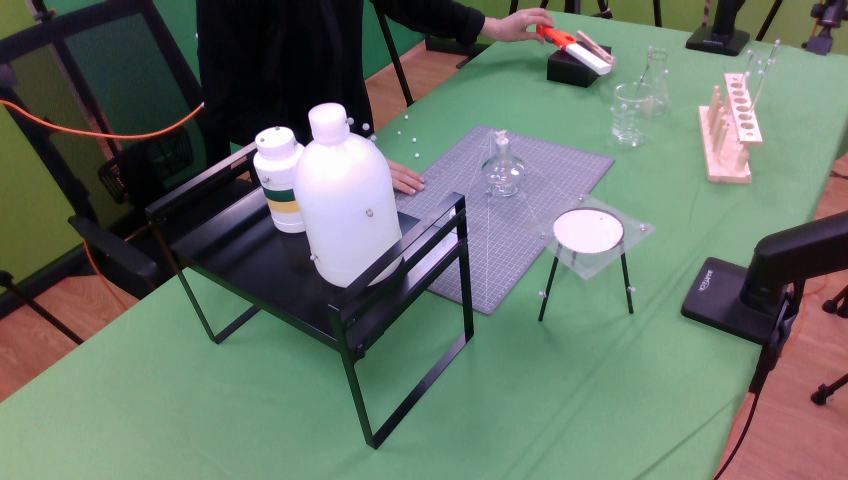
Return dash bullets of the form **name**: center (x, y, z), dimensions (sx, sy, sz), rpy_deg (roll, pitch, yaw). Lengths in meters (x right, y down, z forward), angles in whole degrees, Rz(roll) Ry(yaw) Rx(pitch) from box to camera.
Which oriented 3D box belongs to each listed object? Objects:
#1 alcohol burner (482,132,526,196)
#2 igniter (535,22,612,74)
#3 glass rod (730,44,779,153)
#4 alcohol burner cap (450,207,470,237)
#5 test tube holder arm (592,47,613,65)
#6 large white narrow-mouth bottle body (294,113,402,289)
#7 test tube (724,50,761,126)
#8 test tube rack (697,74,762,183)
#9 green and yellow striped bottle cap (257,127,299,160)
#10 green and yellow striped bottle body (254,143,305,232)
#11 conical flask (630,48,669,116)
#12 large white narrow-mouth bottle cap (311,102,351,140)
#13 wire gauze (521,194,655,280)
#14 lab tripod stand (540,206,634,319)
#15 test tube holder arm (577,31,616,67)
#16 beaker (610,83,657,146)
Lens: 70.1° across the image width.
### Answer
- **alcohol burner**: center (0.137, -0.136, 1.042), dimensions (0.078, 0.119, 0.077), rpy_deg (-4, 43, 4)
- **igniter**: center (0.329, -0.439, 1.365), dimensions (0.057, 0.025, 0.274), rpy_deg (-16, 43, -17)
- **glass rod**: center (0.555, -0.233, 1.020), dimensions (0.008, 0.200, 0.008), rpy_deg (2, 39, -1)
- **alcohol burner cap**: center (0.057, -0.032, 0.987), dimensions (0.034, 0.048, 0.033), rpy_deg (-5, 41, 5)
- **test tube holder arm**: center (0.387, -0.399, 1.317), dimensions (0.010, 0.015, 0.087), rpy_deg (-11, 41, -6)
- **large white narrow-mouth bottle body**: center (-0.082, -0.047, 0.634), dimensions (0.102, 0.195, 0.101), rpy_deg (-4, 40, 3)
- **test tube**: center (0.570, -0.269, 1.086), dimensions (0.017, 0.151, 0.017), rpy_deg (-1, 46, 1)
- **test tube rack**: center (0.547, -0.208, 1.095), dimensions (0.066, 0.085, 0.242), rpy_deg (5, 42, 15)
- **green and yellow striped bottle cap**: center (-0.169, -0.112, 0.699), dimensions (0.045, 0.020, 0.045), rpy_deg (-6, 40, 5)
- **green and yellow striped bottle body**: center (-0.165, -0.073, 0.732), dimensions (0.063, 0.120, 0.063), rpy_deg (-4, 41, 4)
- **conical flask**: center (0.456, -0.317, 1.205), dimensions (0.075, 0.122, 0.075), rpy_deg (-4, 41, 4)
- **large white narrow-mouth bottle cap**: center (-0.089, -0.114, 0.579), dimensions (0.038, 0.024, 0.037), rpy_deg (-3, 40, 3)
- **wire gauze**: center (0.207, -0.012, 0.772), dimensions (0.122, 0.011, 0.124), rpy_deg (-28, 44, -20)
- **lab tripod stand**: center (0.218, 0.034, 0.821), dimensions (0.148, 0.132, 0.147), rpy_deg (-4, 42, 4)
- **test tube holder arm**: center (0.383, -0.428, 1.351), dimensions (0.013, 0.015, 0.177), rpy_deg (-11, 41, -7)
- **beaker**: center (0.388, -0.235, 1.138), dimensions (0.074, 0.101, 0.083), rpy_deg (-31, 45, -26)
